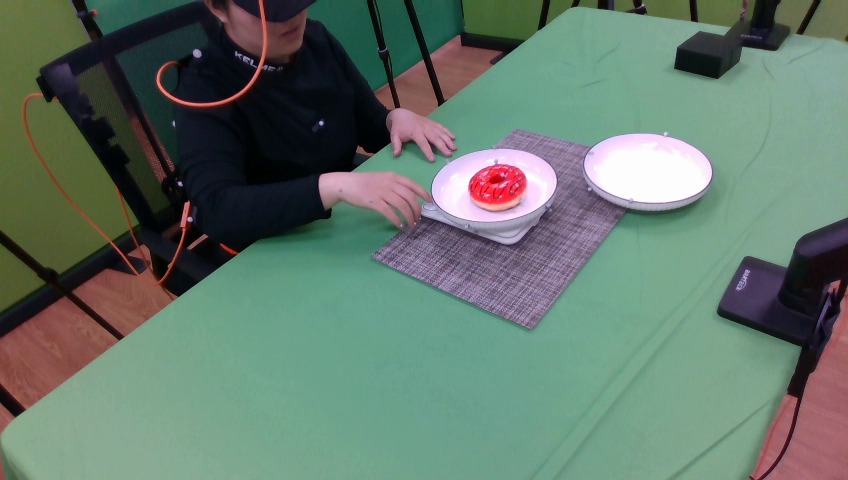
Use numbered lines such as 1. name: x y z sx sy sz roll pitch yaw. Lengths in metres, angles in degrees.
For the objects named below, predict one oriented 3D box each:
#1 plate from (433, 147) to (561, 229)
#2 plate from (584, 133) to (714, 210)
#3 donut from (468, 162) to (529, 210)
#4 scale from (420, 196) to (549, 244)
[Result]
1. plate: 0.120 -0.082 0.996 0.207 0.039 0.206 -6 40 5
2. plate: 0.379 -0.113 1.030 0.209 0.038 0.208 -4 41 4
3. donut: 0.121 -0.088 0.985 0.099 0.048 0.098 -7 42 7
4. scale: 0.106 -0.064 1.029 0.199 0.032 0.149 21 48 32
